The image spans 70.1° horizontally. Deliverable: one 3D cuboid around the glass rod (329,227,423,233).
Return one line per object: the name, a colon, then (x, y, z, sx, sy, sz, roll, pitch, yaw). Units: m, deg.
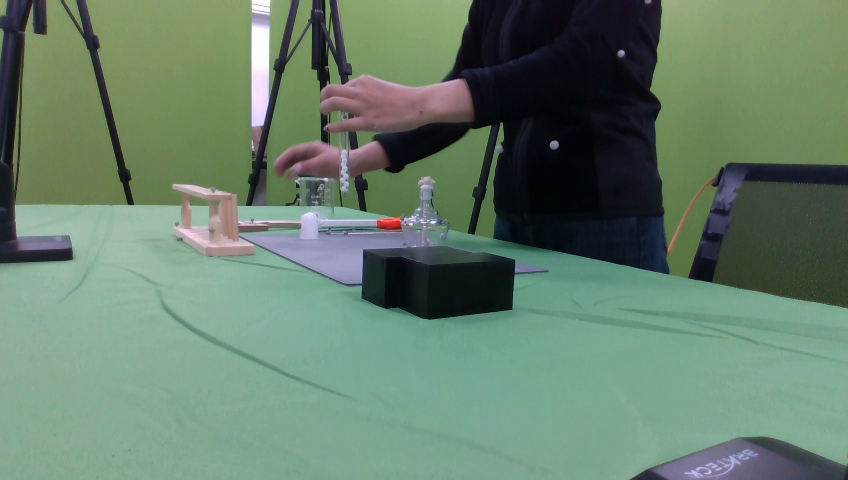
glass rod: (-0.087, -0.019, 1.148, 0.201, 0.008, 0.008, -3, 8, -32)

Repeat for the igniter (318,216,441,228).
igniter: (-0.090, -0.035, 1.222, 0.278, 0.025, 0.057, -2, -1, -31)

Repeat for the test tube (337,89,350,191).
test tube: (-0.120, -0.149, 0.904, 0.017, 0.150, 0.017, 0, 8, 0)

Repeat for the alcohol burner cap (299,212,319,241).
alcohol burner cap: (-0.195, -0.025, 1.025, 0.034, 0.048, 0.034, 3, 7, 0)

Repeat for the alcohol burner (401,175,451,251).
alcohol burner: (0.003, -0.042, 0.947, 0.078, 0.119, 0.078, 1, 9, 0)

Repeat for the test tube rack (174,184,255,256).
test tube rack: (-0.327, -0.036, 0.928, 0.067, 0.085, 0.241, -2, 9, -32)

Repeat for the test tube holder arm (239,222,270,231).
test tube holder arm: (-0.321, -0.024, 1.100, 0.088, 0.015, 0.010, -4, 43, -49)

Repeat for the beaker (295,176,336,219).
beaker: (-0.224, -0.080, 1.247, 0.084, 0.100, 0.073, -1, 8, -18)

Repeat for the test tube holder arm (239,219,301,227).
test tube holder arm: (-0.296, -0.030, 1.137, 0.179, 0.015, 0.013, -6, 44, -50)
